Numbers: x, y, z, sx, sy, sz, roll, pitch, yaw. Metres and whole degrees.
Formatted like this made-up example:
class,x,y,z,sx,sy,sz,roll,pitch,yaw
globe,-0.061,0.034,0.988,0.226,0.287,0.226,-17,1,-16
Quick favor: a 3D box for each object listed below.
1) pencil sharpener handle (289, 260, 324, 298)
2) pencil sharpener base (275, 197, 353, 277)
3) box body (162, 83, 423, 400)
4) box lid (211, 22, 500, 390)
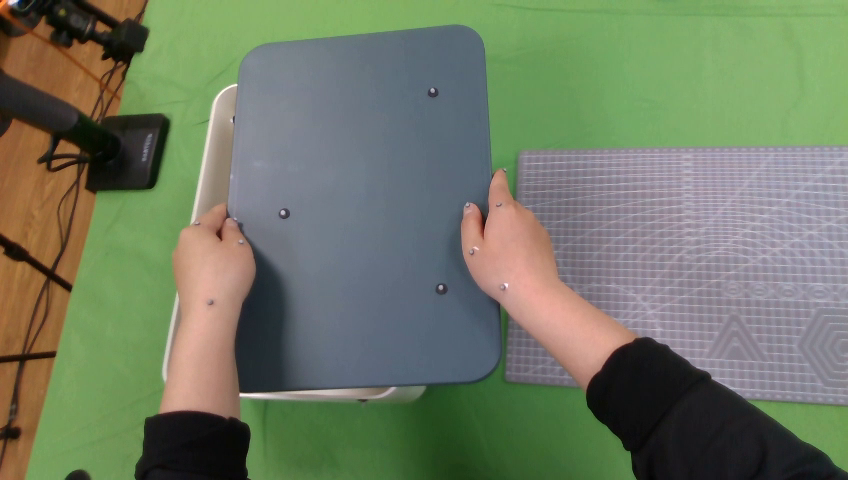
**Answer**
class,x,y,z,sx,sy,sz,roll,pitch,yaw
pencil sharpener handle,-0.136,0.047,0.718,0.036,0.068,0.030,-3,72,14
pencil sharpener base,-0.133,0.002,0.745,0.061,0.108,0.076,-2,72,11
box body,-0.125,0.005,0.720,0.253,0.161,0.361,-2,72,11
box lid,-0.067,-0.048,0.587,0.263,0.015,0.369,-4,72,6
